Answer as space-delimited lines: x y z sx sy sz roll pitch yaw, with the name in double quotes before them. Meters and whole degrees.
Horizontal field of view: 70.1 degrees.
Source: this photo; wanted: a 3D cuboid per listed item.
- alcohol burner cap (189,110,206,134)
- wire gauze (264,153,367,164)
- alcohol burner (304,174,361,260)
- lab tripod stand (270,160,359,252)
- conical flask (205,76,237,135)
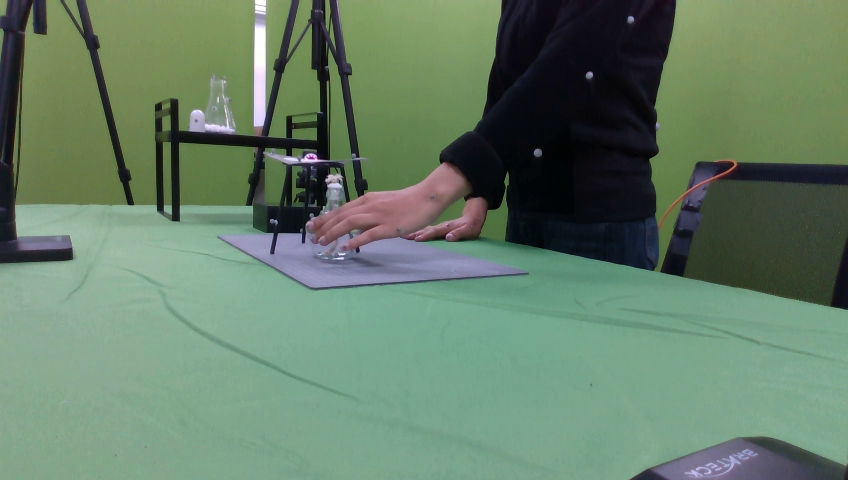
"alcohol burner cap" -0.464 -0.242 1.240 0.034 0.048 0.034 5 7 0
"wire gauze" -0.160 -0.118 0.888 0.122 0.011 0.124 -3 10 -32
"alcohol burner" -0.126 -0.032 0.836 0.078 0.119 0.078 4 8 0
"lab tripod stand" -0.167 -0.051 0.892 0.148 0.131 0.148 3 9 0
"conical flask" -0.443 -0.290 1.309 0.075 0.122 0.075 3 7 0
